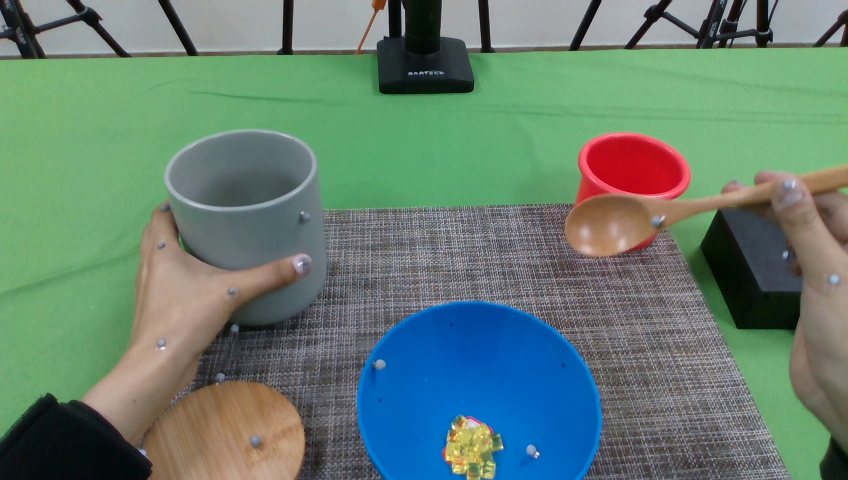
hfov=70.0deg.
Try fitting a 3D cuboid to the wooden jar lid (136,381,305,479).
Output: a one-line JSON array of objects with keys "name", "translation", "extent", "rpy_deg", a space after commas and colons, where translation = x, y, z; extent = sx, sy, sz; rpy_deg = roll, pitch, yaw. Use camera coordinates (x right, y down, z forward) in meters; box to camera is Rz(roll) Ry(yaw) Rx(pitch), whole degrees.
[{"name": "wooden jar lid", "translation": [-0.134, 0.146, 0.408], "extent": [0.108, 0.021, 0.107], "rpy_deg": [1, 45, 0]}]

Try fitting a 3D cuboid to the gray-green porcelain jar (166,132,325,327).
[{"name": "gray-green porcelain jar", "translation": [-0.133, -0.003, 0.475], "extent": [0.106, 0.127, 0.105], "rpy_deg": [2, 41, -2]}]

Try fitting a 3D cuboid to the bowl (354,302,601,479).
[{"name": "bowl", "translation": [0.032, 0.123, 0.397], "extent": [0.151, 0.077, 0.150], "rpy_deg": [2, 46, -1]}]

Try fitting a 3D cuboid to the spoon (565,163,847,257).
[{"name": "spoon", "translation": [0.182, -0.023, 0.366], "extent": [0.193, 0.022, 0.041], "rpy_deg": [-12, 84, 27]}]
